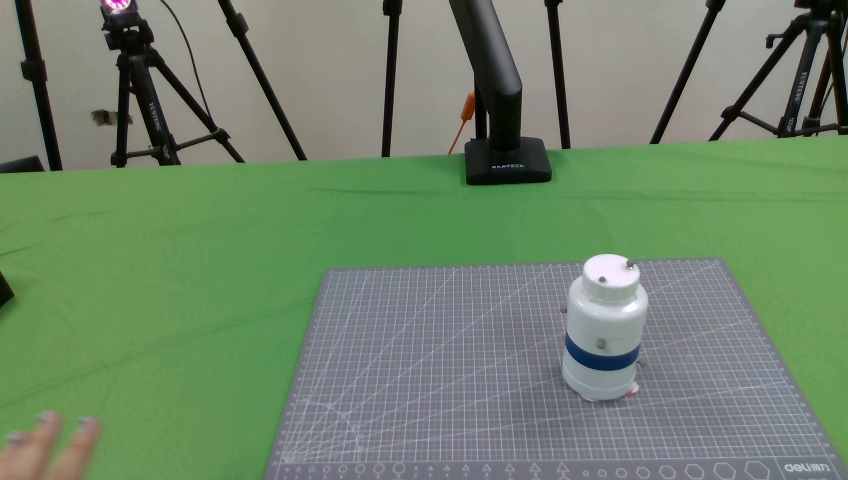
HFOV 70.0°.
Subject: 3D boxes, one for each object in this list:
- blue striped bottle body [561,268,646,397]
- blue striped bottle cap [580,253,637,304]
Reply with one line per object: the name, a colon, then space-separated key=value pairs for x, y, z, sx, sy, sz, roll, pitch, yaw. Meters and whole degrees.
blue striped bottle body: x=0.152 y=0.071 z=0.514 sx=0.063 sy=0.122 sz=0.062 roll=-3 pitch=36 yaw=2
blue striped bottle cap: x=0.148 y=0.030 z=0.485 sx=0.044 sy=0.021 sz=0.044 roll=-2 pitch=35 yaw=2
